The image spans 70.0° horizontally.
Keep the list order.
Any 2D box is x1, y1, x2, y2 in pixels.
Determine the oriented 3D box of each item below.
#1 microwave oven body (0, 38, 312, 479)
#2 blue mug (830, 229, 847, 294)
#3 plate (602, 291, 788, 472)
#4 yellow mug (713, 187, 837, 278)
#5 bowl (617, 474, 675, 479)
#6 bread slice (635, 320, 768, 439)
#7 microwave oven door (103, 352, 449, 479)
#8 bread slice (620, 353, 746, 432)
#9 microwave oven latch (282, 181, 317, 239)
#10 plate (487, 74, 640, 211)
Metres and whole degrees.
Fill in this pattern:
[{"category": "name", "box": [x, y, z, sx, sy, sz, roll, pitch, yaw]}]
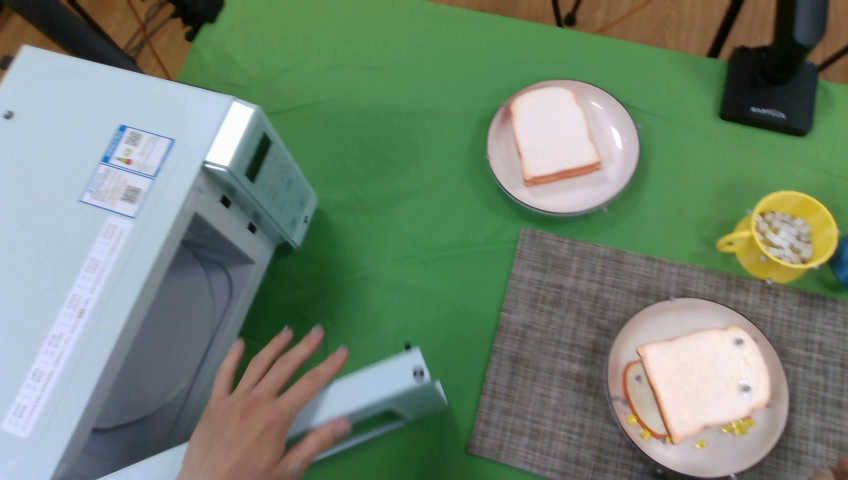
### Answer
[{"category": "microwave oven body", "box": [-0.378, 0.044, 0.712, 0.325, 0.262, 0.439, 16, 74, 10]}, {"category": "blue mug", "box": [0.545, 0.019, 0.720, 0.082, 0.106, 0.116, 35, 78, 16]}, {"category": "plate", "box": [0.317, 0.166, 0.722, 0.209, 0.038, 0.207, -2, 71, 5]}, {"category": "yellow mug", "box": [0.433, -0.006, 0.761, 0.131, 0.064, 0.099, -6, 70, 5]}, {"category": "bowl", "box": [0.240, 0.331, 0.655, 0.151, 0.077, 0.150, -2, 71, 5]}, {"category": "bread slice", "box": [0.308, 0.144, 0.667, 0.134, 0.018, 0.106, -18, 76, -8]}, {"category": "microwave oven door", "box": [-0.152, 0.209, 0.628, 0.356, 0.245, 0.039, -22, 69, -3]}, {"category": "bread slice", "box": [0.305, 0.172, 0.724, 0.131, 0.019, 0.104, -16, 69, -2]}, {"category": "microwave oven latch", "box": [-0.172, -0.043, 0.826, 0.030, 0.030, 0.079, 19, 74, 11]}, {"category": "plate", "box": [0.191, -0.133, 0.843, 0.207, 0.039, 0.206, -2, 71, 5]}]
